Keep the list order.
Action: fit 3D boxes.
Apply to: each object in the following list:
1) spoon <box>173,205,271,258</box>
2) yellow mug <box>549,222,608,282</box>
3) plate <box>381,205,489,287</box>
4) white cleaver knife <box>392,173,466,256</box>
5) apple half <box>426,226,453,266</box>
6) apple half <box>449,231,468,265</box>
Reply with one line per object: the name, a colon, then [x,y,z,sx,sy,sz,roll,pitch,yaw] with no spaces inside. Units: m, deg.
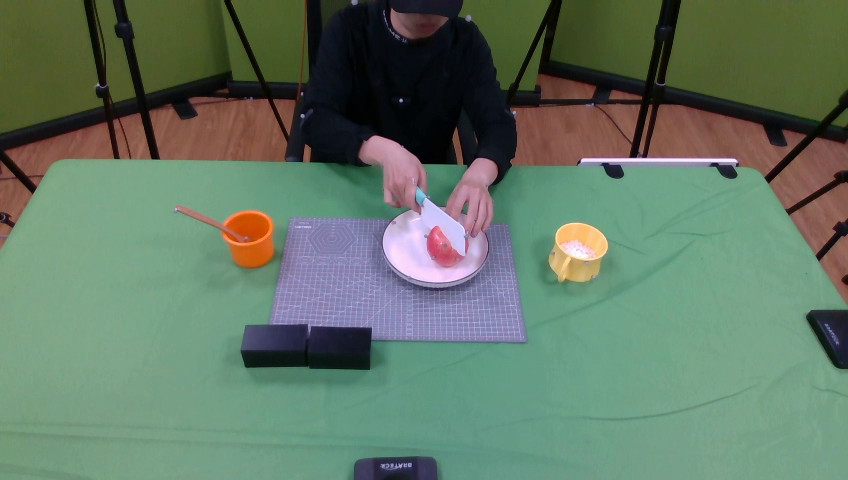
spoon: [-0.362,-0.017,1.098,0.021,0.195,0.041,-33,42,27]
yellow mug: [0.287,0.031,1.159,0.099,0.064,0.130,27,51,21]
plate: [0.020,0.015,1.170,0.209,0.038,0.208,2,46,-2]
white cleaver knife: [0.004,-0.053,1.155,0.021,0.066,0.284,-12,32,-24]
apple half: [0.021,0.017,1.131,0.033,0.081,0.081,-18,50,-22]
apple half: [0.055,0.004,1.146,0.053,0.075,0.080,-16,47,-25]
